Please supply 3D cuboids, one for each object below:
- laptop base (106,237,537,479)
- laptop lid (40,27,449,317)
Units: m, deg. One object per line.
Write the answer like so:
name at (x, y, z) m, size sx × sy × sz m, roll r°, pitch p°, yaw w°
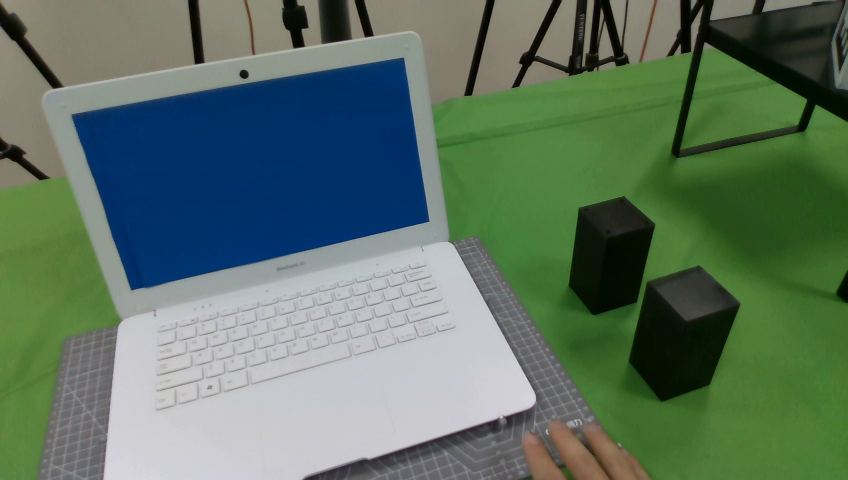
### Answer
laptop base at (-0.102, 0.111, 0.566) m, size 0.355 × 0.023 × 0.232 m, roll -14°, pitch 43°, yaw -12°
laptop lid at (-0.156, -0.066, 0.609) m, size 0.357 × 0.243 × 0.013 m, roll -15°, pitch 22°, yaw -12°
